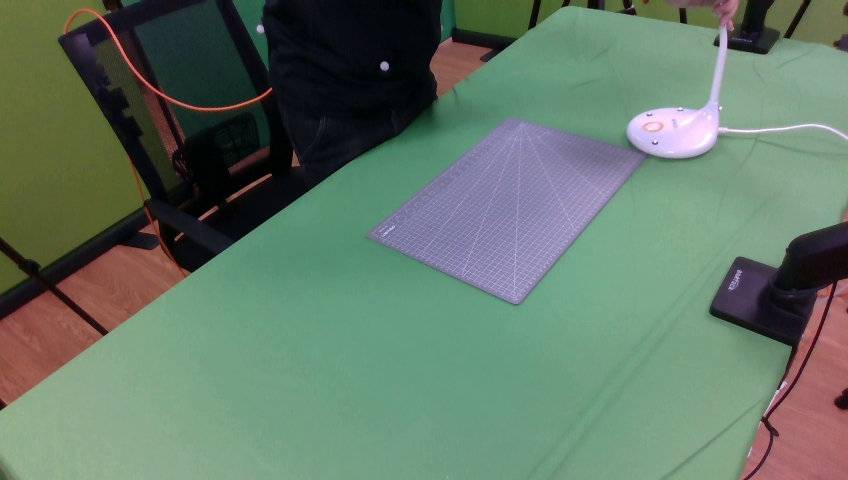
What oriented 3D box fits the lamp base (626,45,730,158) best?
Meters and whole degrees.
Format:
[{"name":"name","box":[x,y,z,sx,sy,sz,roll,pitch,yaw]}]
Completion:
[{"name":"lamp base","box":[0.468,-0.262,1.086,0.179,0.181,0.159,-4,41,-1]}]
